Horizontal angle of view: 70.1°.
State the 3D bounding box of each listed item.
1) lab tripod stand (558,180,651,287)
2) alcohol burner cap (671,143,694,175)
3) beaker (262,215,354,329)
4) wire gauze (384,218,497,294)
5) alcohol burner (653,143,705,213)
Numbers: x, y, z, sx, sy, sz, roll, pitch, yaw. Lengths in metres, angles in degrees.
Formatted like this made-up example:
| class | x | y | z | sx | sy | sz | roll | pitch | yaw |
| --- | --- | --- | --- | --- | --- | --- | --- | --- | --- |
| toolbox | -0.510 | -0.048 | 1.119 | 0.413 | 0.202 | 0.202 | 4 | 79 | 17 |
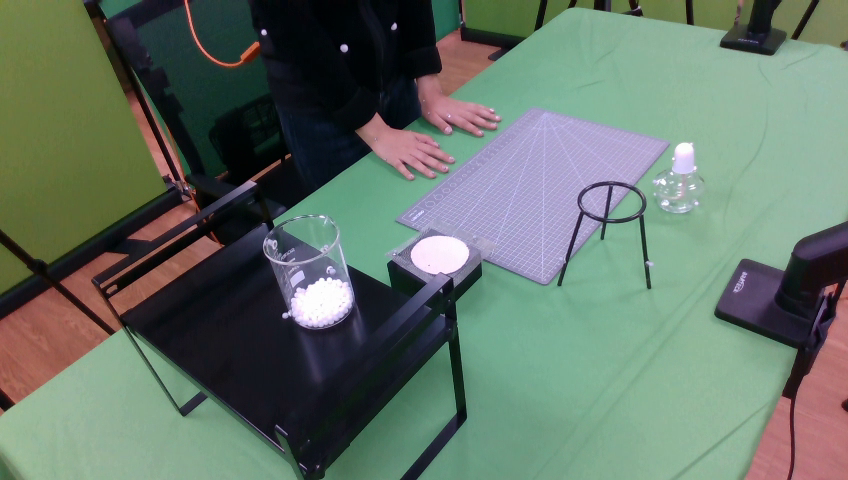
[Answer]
| class | x | y | z | sx | sy | sz | roll | pitch | yaw |
| --- | --- | --- | --- | --- | --- | --- | --- | --- | --- |
| lab tripod stand | 0.258 | -0.005 | 0.857 | 0.148 | 0.132 | 0.147 | -4 | 43 | 5 |
| alcohol burner cap | 0.403 | -0.129 | 0.941 | 0.034 | 0.048 | 0.033 | -9 | 39 | 8 |
| beaker | -0.112 | 0.034 | 0.616 | 0.073 | 0.101 | 0.084 | 13 | 44 | 23 |
| wire gauze | 0.024 | 0.016 | 0.886 | 0.124 | 0.011 | 0.122 | 28 | 49 | 33 |
| alcohol burner | 0.408 | -0.102 | 0.963 | 0.078 | 0.119 | 0.077 | -6 | 42 | 6 |
